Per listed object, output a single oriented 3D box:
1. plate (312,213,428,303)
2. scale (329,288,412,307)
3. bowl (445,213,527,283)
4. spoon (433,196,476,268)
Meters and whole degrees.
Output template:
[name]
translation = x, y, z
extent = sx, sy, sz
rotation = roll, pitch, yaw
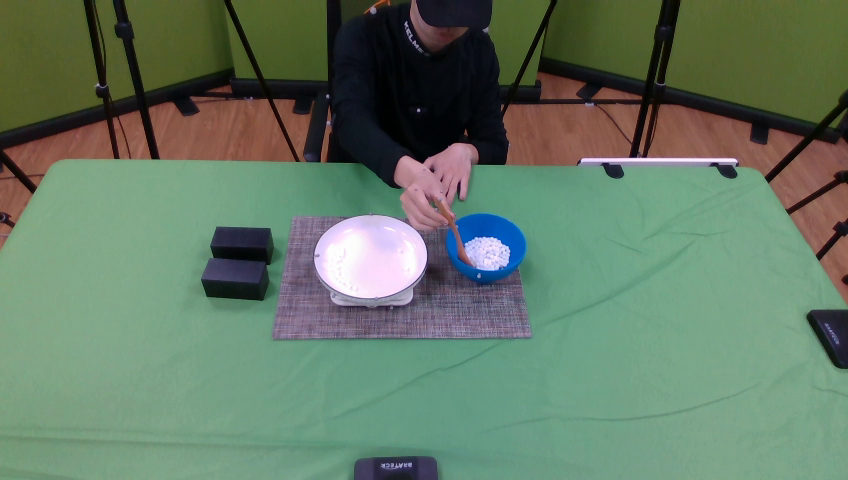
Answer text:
[plate]
translation = -0.097, 0.036, 1.100
extent = 0.209, 0.038, 0.208
rotation = 2, 46, -2
[scale]
translation = -0.098, 0.042, 1.139
extent = 0.149, 0.032, 0.199
rotation = 1, 46, -4
[bowl]
translation = 0.111, 0.028, 1.137
extent = 0.151, 0.077, 0.150
rotation = 2, 46, -2
[spoon]
translation = 0.055, -0.008, 1.062
extent = 0.021, 0.195, 0.041
rotation = -39, 40, -17
